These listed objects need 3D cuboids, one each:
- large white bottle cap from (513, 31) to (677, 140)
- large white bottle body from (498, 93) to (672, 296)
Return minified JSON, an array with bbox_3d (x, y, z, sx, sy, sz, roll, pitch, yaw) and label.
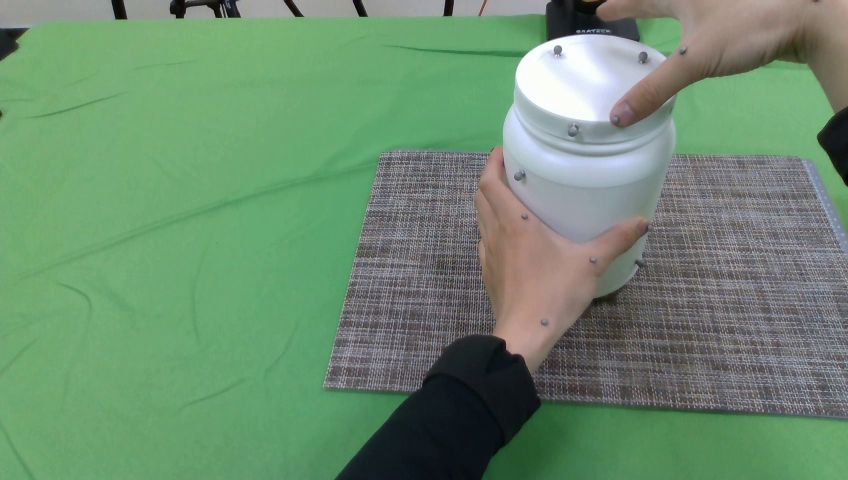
[{"bbox_3d":[0.122,-0.115,0.438,0.115,0.018,0.113,-3,48,3],"label":"large white bottle cap"},{"bbox_3d":[0.127,-0.056,0.503,0.130,0.186,0.129,-2,48,3],"label":"large white bottle body"}]
